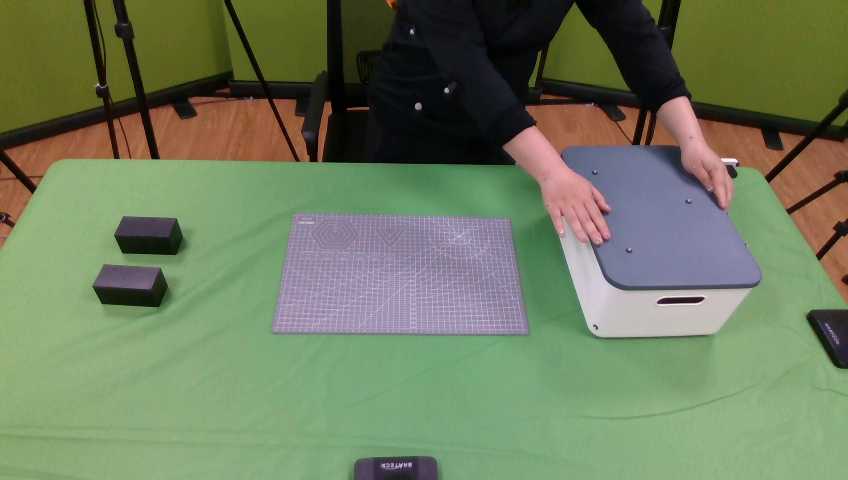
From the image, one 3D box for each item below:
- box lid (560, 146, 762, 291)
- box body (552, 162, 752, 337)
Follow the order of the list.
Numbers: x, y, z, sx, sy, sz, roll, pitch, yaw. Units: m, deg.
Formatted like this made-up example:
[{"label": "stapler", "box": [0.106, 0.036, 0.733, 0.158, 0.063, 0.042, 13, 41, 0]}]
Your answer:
[{"label": "box lid", "box": [0.404, -0.052, 1.076, 0.263, 0.015, 0.369, -1, 45, -5]}, {"label": "box body", "box": [0.401, -0.001, 1.131, 0.254, 0.161, 0.361, -1, 46, -5]}]
